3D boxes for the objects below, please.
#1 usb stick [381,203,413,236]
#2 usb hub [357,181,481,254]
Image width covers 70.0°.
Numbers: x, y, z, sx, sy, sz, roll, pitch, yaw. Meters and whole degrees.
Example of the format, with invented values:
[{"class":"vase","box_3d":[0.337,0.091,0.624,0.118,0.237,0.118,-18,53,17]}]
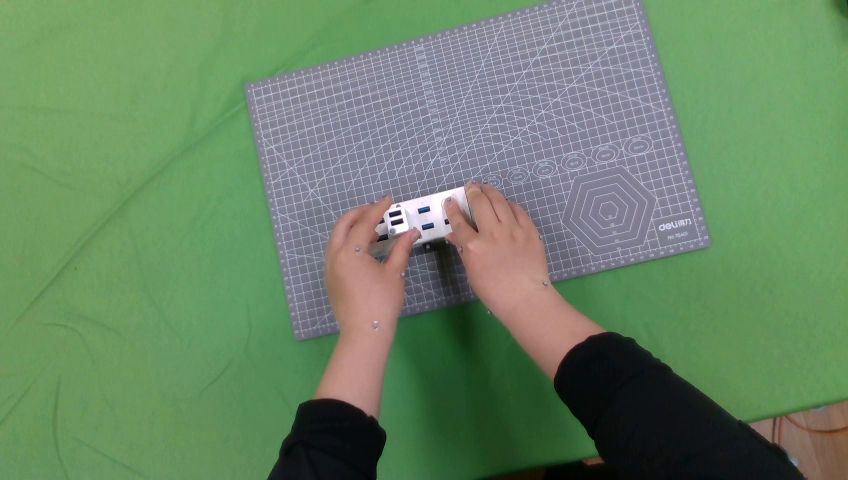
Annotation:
[{"class":"usb stick","box_3d":[-0.026,-0.019,0.618,0.021,0.059,0.027,-18,80,5]},{"class":"usb hub","box_3d":[-0.006,-0.024,0.645,0.125,0.025,0.049,-14,82,5]}]
